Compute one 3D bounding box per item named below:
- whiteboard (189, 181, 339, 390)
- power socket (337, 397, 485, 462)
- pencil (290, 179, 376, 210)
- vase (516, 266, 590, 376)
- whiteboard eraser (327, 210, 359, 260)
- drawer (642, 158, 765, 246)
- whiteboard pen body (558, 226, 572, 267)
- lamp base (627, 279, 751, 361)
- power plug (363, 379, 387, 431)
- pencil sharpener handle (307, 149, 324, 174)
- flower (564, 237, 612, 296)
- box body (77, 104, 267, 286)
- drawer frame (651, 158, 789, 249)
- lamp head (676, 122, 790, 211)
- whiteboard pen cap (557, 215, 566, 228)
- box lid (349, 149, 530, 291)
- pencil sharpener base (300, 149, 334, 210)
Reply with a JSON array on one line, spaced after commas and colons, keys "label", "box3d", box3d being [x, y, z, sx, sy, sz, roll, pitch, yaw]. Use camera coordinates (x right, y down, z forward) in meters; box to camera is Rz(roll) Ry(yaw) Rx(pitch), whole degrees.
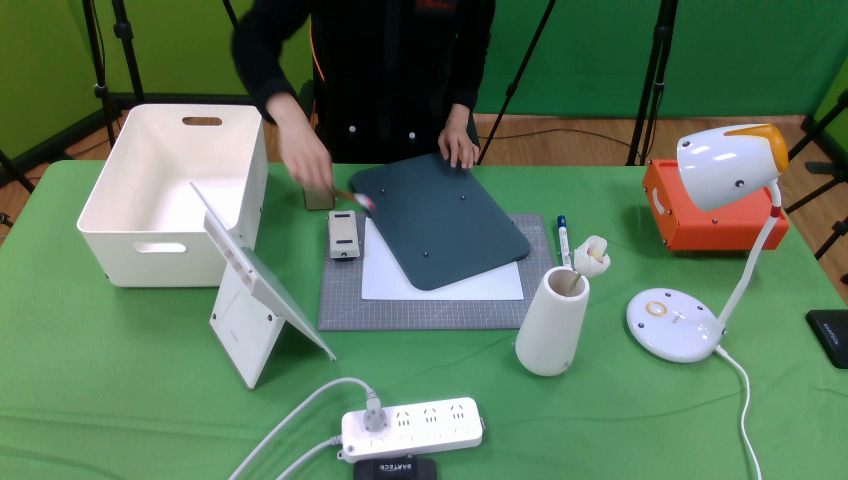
[{"label": "whiteboard", "box3d": [-0.292, 0.096, 0.929, 0.144, 0.307, 0.216, -37, 57, -10]}, {"label": "power socket", "box3d": [-0.018, 0.285, 0.915, 0.227, 0.033, 0.071, -5, 46, -8]}, {"label": "pencil", "box3d": [-0.156, -0.078, 1.006, 0.193, 0.012, 0.012, 19, 47, 31]}, {"label": "vase", "box3d": [0.208, 0.132, 0.964, 0.098, 0.201, 0.097, 3, 46, -3]}, {"label": "whiteboard eraser", "box3d": [-0.159, -0.009, 1.176, 0.055, 0.042, 0.112, -6, 47, -7]}, {"label": "drawer", "box3d": [0.565, -0.076, 1.211, 0.212, 0.073, 0.193, 2, 45, -2]}, {"label": "whiteboard pen body", "box3d": [0.280, 0.010, 1.208, 0.017, 0.017, 0.140, 3, 50, -1]}, {"label": "lamp base", "box3d": [0.459, 0.100, 1.027, 0.178, 0.181, 0.160, 27, 51, 17]}, {"label": "power plug", "box3d": [-0.072, 0.252, 0.910, 0.035, 0.053, 0.072, 3, 45, -1]}, {"label": "pencil sharpener handle", "box3d": [-0.229, -0.170, 1.267, 0.036, 0.068, 0.030, 4, 45, -16]}, {"label": "flower", "box3d": [0.206, 0.088, 0.892, 0.038, 0.363, 0.044, -16, 67, -9]}, {"label": "box body", "box3d": [-0.446, -0.088, 1.150, 0.254, 0.161, 0.361, -1, 46, -5]}, {"label": "drawer frame", "box3d": [0.571, -0.075, 1.214, 0.214, 0.083, 0.200, 0, 45, -1]}, {"label": "lamp head", "box3d": [0.423, -0.104, 0.819, 0.122, 0.113, 0.112, -13, 33, 40]}, {"label": "whiteboard pen cap", "box3d": [0.284, -0.034, 1.246, 0.018, 0.018, 0.033, 4, 52, -1]}, {"label": "box lid", "box3d": [0.025, -0.056, 1.260, 0.263, 0.015, 0.369, -18, 49, -20]}, {"label": "pencil sharpener base", "box3d": [-0.219, -0.125, 1.242, 0.061, 0.107, 0.076, -4, 46, -8]}]
